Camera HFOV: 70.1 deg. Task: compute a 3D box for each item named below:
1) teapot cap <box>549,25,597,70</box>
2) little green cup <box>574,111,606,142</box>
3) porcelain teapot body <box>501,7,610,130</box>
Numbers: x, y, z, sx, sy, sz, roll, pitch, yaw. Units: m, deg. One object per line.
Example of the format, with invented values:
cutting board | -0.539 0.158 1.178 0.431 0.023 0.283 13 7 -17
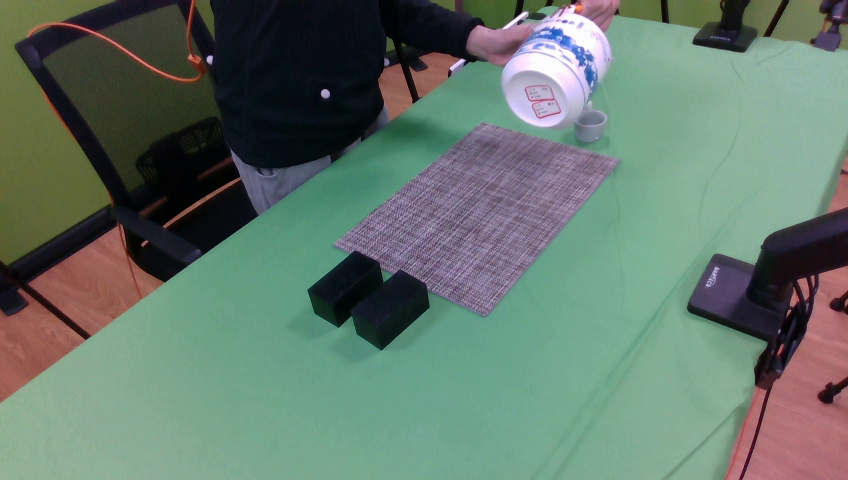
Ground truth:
teapot cap | 0.257 -0.330 1.035 0.084 0.085 0.044 18 53 27
little green cup | 0.318 -0.218 1.164 0.061 0.039 0.061 -3 40 3
porcelain teapot body | 0.244 -0.281 1.037 0.144 0.207 0.225 12 53 35
